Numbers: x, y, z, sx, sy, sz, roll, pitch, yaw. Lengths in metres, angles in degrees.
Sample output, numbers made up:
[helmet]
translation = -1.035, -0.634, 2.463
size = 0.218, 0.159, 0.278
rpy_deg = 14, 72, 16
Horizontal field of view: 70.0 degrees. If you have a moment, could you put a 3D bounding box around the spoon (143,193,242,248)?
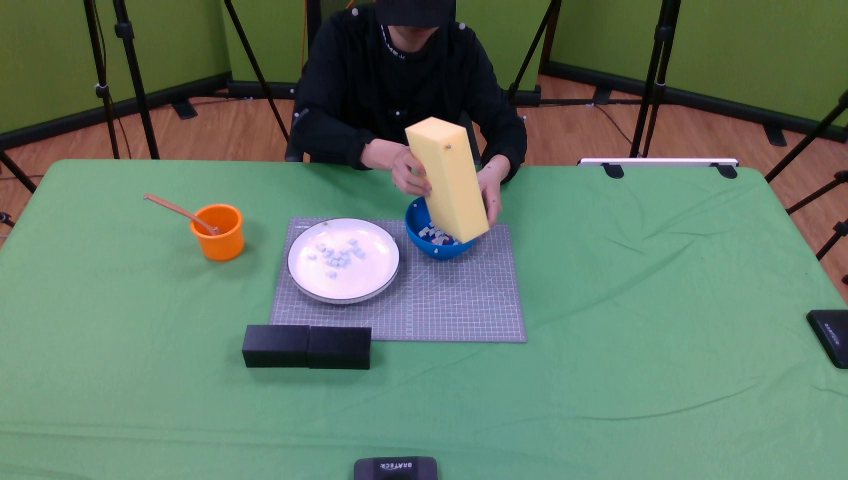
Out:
[spoon]
translation = -0.421, -0.037, 1.113
size = 0.021, 0.195, 0.041
rpy_deg = -37, 37, 23

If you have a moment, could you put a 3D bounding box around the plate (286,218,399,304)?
[plate]
translation = -0.150, 0.042, 1.131
size = 0.209, 0.038, 0.208
rpy_deg = 2, 45, -2

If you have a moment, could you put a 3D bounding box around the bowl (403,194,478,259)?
[bowl]
translation = 0.034, -0.016, 1.172
size = 0.151, 0.077, 0.150
rpy_deg = 2, 46, -2

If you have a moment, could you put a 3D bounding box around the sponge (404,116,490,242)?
[sponge]
translation = 0.042, -0.110, 1.095
size = 0.061, 0.208, 0.117
rpy_deg = -29, 33, -19
